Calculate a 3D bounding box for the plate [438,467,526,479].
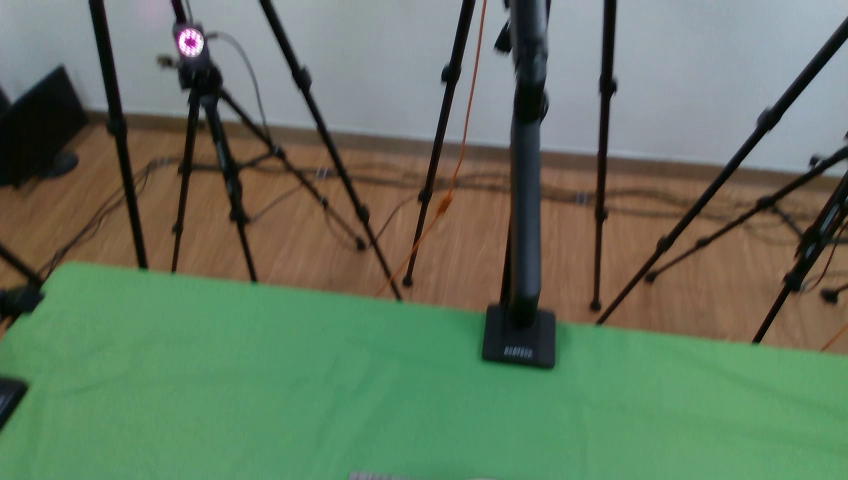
[{"bbox_3d":[0.075,0.386,0.744,0.209,0.038,0.207,0,48,0],"label":"plate"}]
